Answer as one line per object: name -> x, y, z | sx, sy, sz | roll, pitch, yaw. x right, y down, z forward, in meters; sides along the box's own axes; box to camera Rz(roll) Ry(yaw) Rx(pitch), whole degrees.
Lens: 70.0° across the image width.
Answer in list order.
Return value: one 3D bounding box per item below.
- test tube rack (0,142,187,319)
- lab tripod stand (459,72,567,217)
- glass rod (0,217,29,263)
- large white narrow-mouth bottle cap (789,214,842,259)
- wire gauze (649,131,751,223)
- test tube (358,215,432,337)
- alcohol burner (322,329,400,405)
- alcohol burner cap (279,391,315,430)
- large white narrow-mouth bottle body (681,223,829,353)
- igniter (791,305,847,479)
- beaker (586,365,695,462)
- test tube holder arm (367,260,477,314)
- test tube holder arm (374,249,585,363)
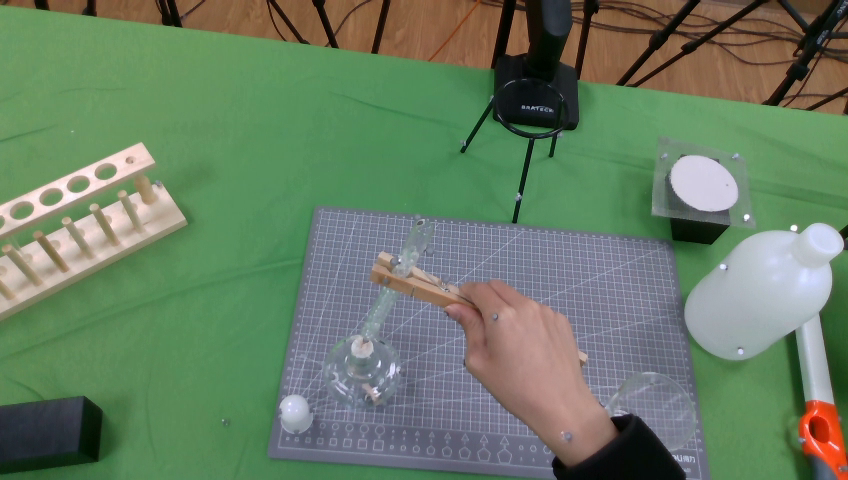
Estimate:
test tube rack -> -0.393, -0.006, 0.650 | 0.242, 0.086, 0.066 | -32, 68, -21
lab tripod stand -> 0.116, -0.123, 0.742 | 0.148, 0.132, 0.147 | 3, 61, -6
glass rod -> -0.426, -0.037, 0.588 | 0.008, 0.201, 0.008 | 4, 50, -5
large white narrow-mouth bottle cap -> 0.362, -0.003, 0.562 | 0.038, 0.024, 0.037 | 2, 60, -4
wire gauze -> 0.342, -0.078, 0.755 | 0.121, 0.011, 0.124 | 12, 59, 1
test tube -> -0.027, 0.035, 0.484 | 0.017, 0.151, 0.017 | 14, 46, -15
alcohol burner -> -0.061, 0.118, 0.593 | 0.078, 0.120, 0.077 | 4, 59, -6
alcohol burner cap -> -0.127, 0.167, 0.600 | 0.034, 0.048, 0.033 | 2, 60, -3
large white narrow-mouth bottle body -> 0.355, 0.042, 0.636 | 0.102, 0.196, 0.101 | 2, 59, -3
igniter -> 0.430, 0.181, 0.660 | 0.057, 0.025, 0.274 | 17, 59, -8
beaker -> 0.204, 0.174, 0.596 | 0.084, 0.101, 0.073 | 2, 59, -3
test tube holder arm -> -0.001, 0.037, 0.470 | 0.088, 0.015, 0.010 | 19, 46, -1
test tube holder arm -> 0.042, 0.051, 0.472 | 0.178, 0.015, 0.013 | 25, 46, 5
